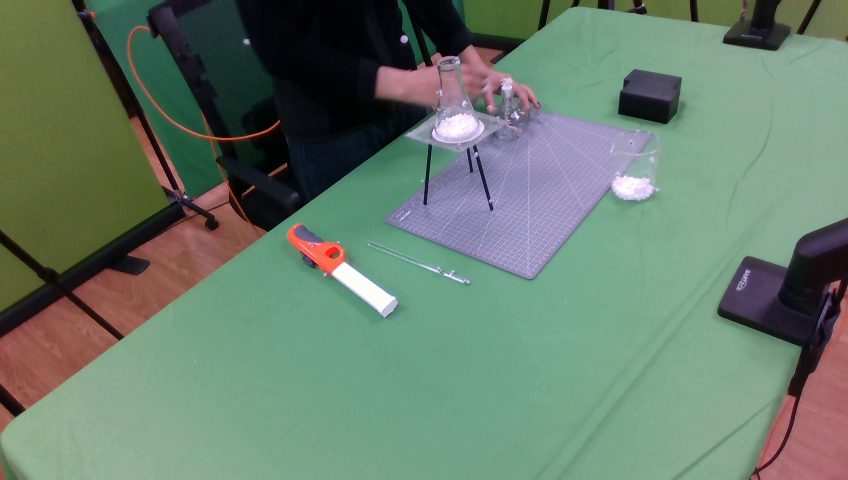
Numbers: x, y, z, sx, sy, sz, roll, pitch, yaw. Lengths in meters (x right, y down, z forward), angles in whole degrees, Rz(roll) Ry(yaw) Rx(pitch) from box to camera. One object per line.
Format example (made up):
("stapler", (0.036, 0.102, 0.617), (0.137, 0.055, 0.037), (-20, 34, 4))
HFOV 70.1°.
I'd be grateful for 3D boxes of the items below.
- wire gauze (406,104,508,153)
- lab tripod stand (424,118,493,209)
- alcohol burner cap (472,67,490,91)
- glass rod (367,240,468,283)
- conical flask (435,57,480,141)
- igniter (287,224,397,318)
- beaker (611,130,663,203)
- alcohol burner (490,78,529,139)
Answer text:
("wire gauze", (0.054, -0.183, 0.997), (0.120, 0.011, 0.125), (25, 53, 38))
("lab tripod stand", (0.061, -0.133, 1.038), (0.148, 0.132, 0.147), (-6, 38, 6))
("alcohol burner cap", (0.105, -0.304, 1.133), (0.034, 0.048, 0.034), (-2, 77, 12))
("glass rod", (-0.015, 0.032, 0.959), (0.198, 0.008, 0.008), (21, 49, 30))
("conical flask", (0.046, -0.225, 0.955), (0.075, 0.122, 0.075), (-7, 39, 6))
("igniter", (-0.139, 0.042, 0.958), (0.057, 0.025, 0.274), (-42, 49, -19))
("beaker", (0.346, -0.118, 0.998), (0.084, 0.101, 0.073), (-17, 40, -7))
("alcohol burner", (0.166, -0.259, 1.184), (0.078, 0.119, 0.077), (-6, 38, 5))
